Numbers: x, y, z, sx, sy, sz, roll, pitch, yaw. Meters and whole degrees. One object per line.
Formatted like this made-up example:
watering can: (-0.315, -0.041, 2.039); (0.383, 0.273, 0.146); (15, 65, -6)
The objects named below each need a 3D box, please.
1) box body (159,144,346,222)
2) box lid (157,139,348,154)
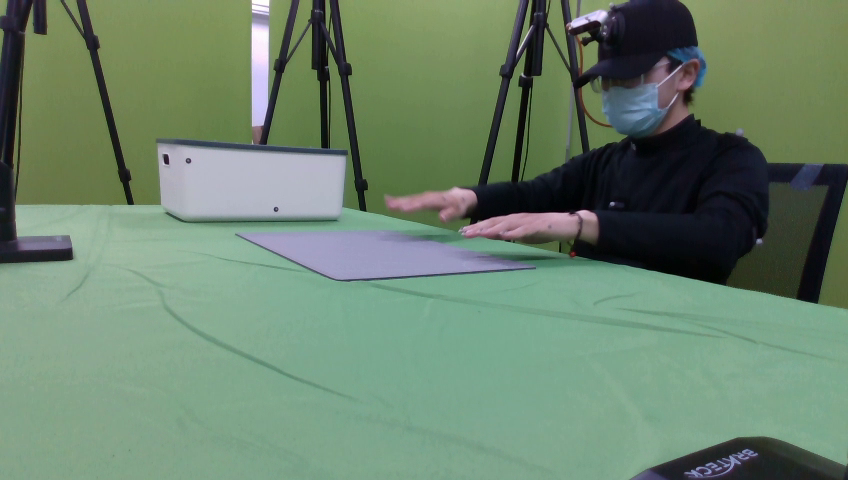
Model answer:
box body: (-0.385, -0.133, 1.359); (0.366, 0.160, 0.253); (-2, 9, -33)
box lid: (-0.379, -0.206, 1.350); (0.373, 0.015, 0.262); (-2, 9, -33)
